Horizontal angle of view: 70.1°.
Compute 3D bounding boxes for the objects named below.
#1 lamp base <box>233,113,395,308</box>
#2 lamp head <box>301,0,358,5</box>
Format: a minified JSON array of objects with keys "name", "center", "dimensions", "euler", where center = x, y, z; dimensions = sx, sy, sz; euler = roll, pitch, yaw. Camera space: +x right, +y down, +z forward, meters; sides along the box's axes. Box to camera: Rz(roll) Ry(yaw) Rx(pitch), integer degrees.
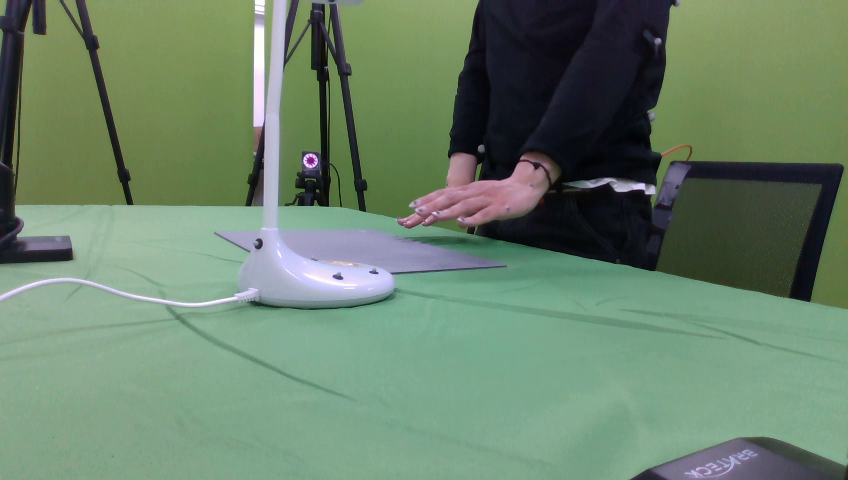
[{"name":"lamp base","center":[-0.113,-0.033,0.600],"dimensions":[0.160,0.180,0.180],"euler":[6,11,28]},{"name":"lamp head","center":[-0.096,-0.314,0.610],"dimensions":[0.112,0.123,0.112],"euler":[-4,50,5]}]
